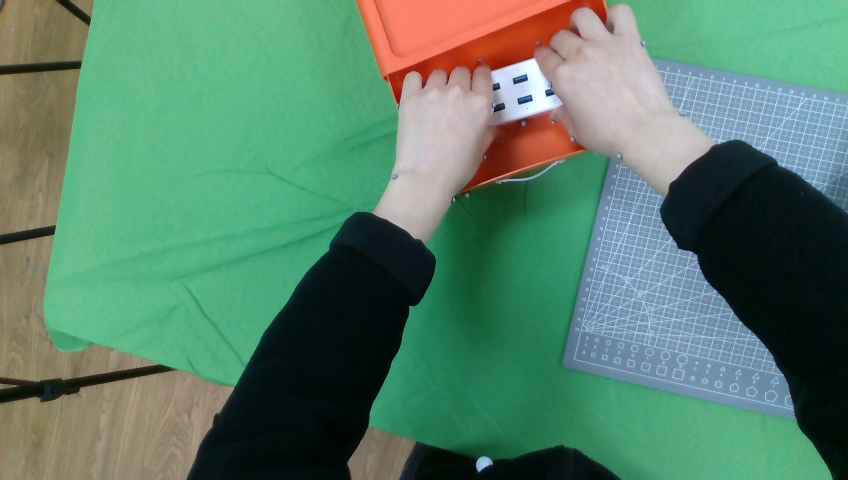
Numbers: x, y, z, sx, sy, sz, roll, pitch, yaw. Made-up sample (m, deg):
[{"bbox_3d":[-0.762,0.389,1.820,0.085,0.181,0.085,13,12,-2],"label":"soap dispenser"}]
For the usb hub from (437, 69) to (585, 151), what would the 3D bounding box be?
[{"bbox_3d":[0.077,-0.117,0.546,0.125,0.025,0.049,13,94,4],"label":"usb hub"}]

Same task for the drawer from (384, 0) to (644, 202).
[{"bbox_3d":[0.063,-0.160,0.536,0.194,0.073,0.212,-18,92,9],"label":"drawer"}]

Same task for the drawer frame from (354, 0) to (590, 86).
[{"bbox_3d":[0.024,-0.271,0.521,0.201,0.083,0.213,-20,93,9],"label":"drawer frame"}]
